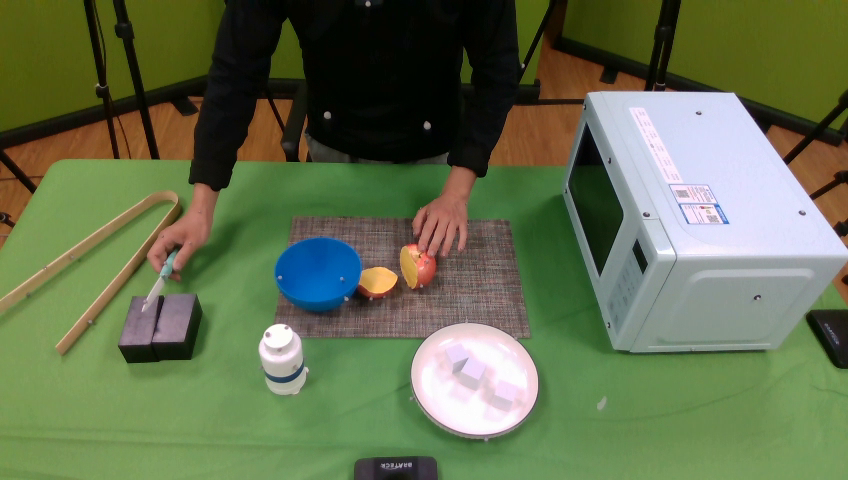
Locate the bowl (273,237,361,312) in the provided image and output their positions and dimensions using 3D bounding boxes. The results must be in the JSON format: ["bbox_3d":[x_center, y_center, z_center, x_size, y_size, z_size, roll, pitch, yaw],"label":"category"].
[{"bbox_3d":[-0.186,0.075,1.069,0.151,0.077,0.150,3,45,-3],"label":"bowl"}]

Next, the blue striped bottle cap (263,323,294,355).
[{"bbox_3d":[-0.217,0.146,0.900,0.044,0.021,0.044,1,46,-1],"label":"blue striped bottle cap"}]

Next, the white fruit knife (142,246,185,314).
[{"bbox_3d":[-0.446,0.064,1.039,0.016,0.027,0.206,0,29,-4],"label":"white fruit knife"}]

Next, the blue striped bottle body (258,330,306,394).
[{"bbox_3d":[-0.220,0.182,0.937,0.063,0.121,0.062,2,46,-2],"label":"blue striped bottle body"}]

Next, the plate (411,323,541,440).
[{"bbox_3d":[0.082,0.228,0.976,0.208,0.039,0.206,2,45,-2],"label":"plate"}]

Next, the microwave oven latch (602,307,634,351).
[{"bbox_3d":[0.332,0.153,1.044,0.030,0.029,0.078,-1,45,-4],"label":"microwave oven latch"}]

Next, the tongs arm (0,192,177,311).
[{"bbox_3d":[-0.618,0.019,1.123,0.050,0.026,0.384,24,47,17],"label":"tongs arm"}]

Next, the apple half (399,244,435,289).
[{"bbox_3d":[-0.008,0.048,1.113,0.053,0.075,0.080,-10,50,-25],"label":"apple half"}]

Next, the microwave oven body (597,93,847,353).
[{"bbox_3d":[0.475,-0.041,1.109,0.326,0.261,0.438,-1,45,-4],"label":"microwave oven body"}]

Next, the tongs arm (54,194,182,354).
[{"bbox_3d":[-0.543,0.048,1.107,0.028,0.028,0.385,11,46,10],"label":"tongs arm"}]

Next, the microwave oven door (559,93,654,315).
[{"bbox_3d":[0.327,-0.074,1.123,0.039,0.245,0.353,-1,46,-5],"label":"microwave oven door"}]

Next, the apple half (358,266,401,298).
[{"bbox_3d":[-0.080,0.081,1.097,0.081,0.033,0.081,3,37,-2],"label":"apple half"}]
